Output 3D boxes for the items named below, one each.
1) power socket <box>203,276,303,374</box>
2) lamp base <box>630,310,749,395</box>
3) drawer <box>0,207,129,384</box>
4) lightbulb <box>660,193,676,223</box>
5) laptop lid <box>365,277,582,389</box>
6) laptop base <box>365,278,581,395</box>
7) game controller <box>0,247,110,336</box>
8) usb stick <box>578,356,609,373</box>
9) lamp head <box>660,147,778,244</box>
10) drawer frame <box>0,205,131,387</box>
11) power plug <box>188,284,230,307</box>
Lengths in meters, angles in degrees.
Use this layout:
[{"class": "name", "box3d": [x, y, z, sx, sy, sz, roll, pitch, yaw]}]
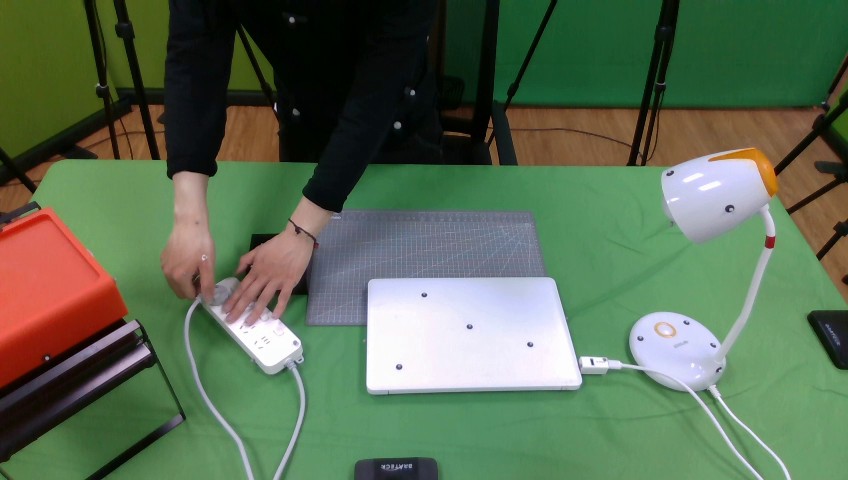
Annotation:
[{"class": "power socket", "box3d": [-0.296, 0.141, 1.033, 0.072, 0.033, 0.225, -34, 58, -31]}, {"class": "lamp base", "box3d": [0.447, 0.142, 0.984, 0.161, 0.181, 0.178, -24, 55, -24]}, {"class": "drawer", "box3d": [-0.539, 0.074, 0.798, 0.193, 0.073, 0.211, 37, 55, 27]}, {"class": "lightbulb", "box3d": [0.368, -0.059, 0.807, 0.060, 0.107, 0.059, 19, 59, -35]}, {"class": "laptop lid", "box3d": [0.077, 0.152, 1.046, 0.357, 0.013, 0.240, 1, 45, -3]}, {"class": "laptop base", "box3d": [0.076, 0.162, 1.053, 0.355, 0.023, 0.234, 0, 44, -4]}, {"class": "game controller", "box3d": [-0.511, 0.063, 0.830, 0.097, 0.052, 0.154, -29, 57, -33]}, {"class": "usb stick", "box3d": [0.274, 0.207, 1.007, 0.059, 0.027, 0.021, 0, 52, 0]}, {"class": "lamp head", "box3d": [0.389, -0.063, 0.784, 0.123, 0.113, 0.112, -22, 33, 37]}, {"class": "drawer frame", "box3d": [-0.539, 0.076, 0.795, 0.200, 0.083, 0.213, 36, 54, 26]}, {"class": "power plug", "box3d": [-0.369, 0.100, 1.035, 0.072, 0.053, 0.035, -25, 54, -25]}]
